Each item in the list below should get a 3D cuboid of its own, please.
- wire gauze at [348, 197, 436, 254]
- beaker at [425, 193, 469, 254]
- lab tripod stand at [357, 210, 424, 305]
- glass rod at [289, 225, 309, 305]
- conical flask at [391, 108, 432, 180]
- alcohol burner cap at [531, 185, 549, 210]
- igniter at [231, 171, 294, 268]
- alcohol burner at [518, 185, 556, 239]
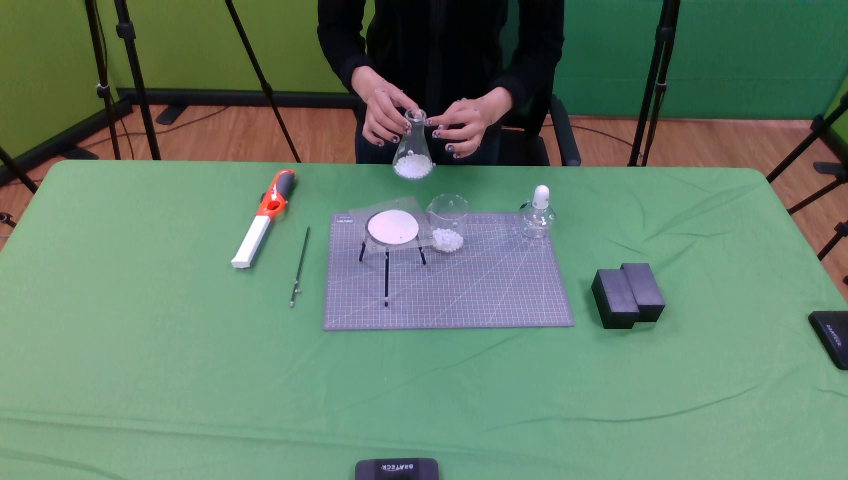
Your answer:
[{"bbox_3d":[-0.056,-0.026,1.045,0.125,0.011,0.120,-12,47,-17],"label":"wire gauze"},{"bbox_3d":[0.042,-0.029,1.174,0.084,0.101,0.073,-5,46,-8],"label":"beaker"},{"bbox_3d":[-0.060,0.020,1.094,0.148,0.132,0.147,3,44,-2],"label":"lab tripod stand"},{"bbox_3d":[-0.235,0.042,1.149,0.008,0.008,0.198,3,47,-1],"label":"glass rod"},{"bbox_3d":[-0.019,-0.174,1.075,0.075,0.122,0.075,3,46,-3],"label":"conical flask"},{"bbox_3d":[0.228,-0.085,1.183,0.034,0.048,0.033,-1,48,2],"label":"alcohol burner cap"},{"bbox_3d":[-0.321,-0.051,1.220,0.057,0.025,0.275,1,45,11],"label":"igniter"},{"bbox_3d":[0.227,-0.061,1.209,0.078,0.120,0.077,1,44,-1],"label":"alcohol burner"}]
